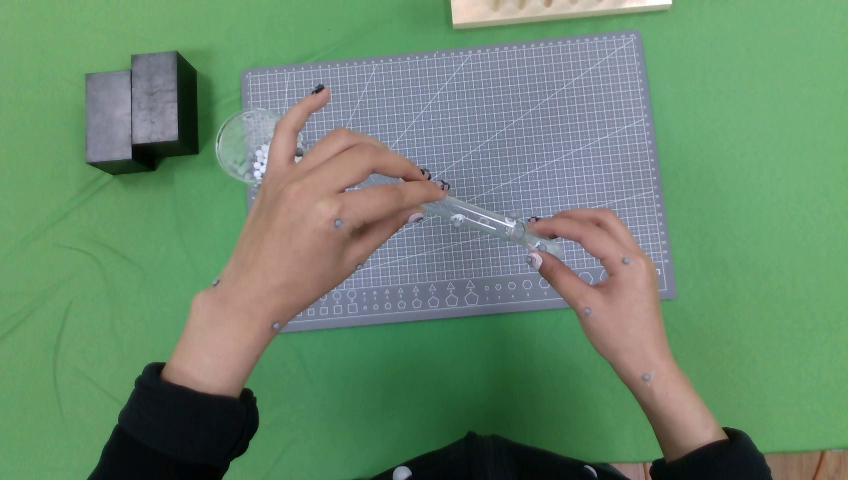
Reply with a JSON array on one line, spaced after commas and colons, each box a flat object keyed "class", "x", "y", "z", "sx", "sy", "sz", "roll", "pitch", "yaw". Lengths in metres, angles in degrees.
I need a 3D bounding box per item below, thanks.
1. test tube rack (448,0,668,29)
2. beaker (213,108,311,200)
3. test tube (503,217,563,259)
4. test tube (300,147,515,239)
[{"class": "test tube rack", "x": 0.145, "y": -0.289, "z": 0.648, "sx": 0.242, "sy": 0.085, "sz": 0.066, "roll": -5, "pitch": 82, "yaw": 2}, {"class": "beaker", "x": -0.158, "y": -0.084, "z": 0.625, "sx": 0.084, "sy": 0.100, "sz": 0.073, "roll": -13, "pitch": 82, "yaw": 0}, {"class": "test tube", "x": 0.091, "y": 0.001, "z": 0.483, "sx": 0.017, "sy": 0.151, "sz": 0.017, "roll": -3, "pitch": 82, "yaw": 23}, {"class": "test tube", "x": -0.011, "y": -0.032, "z": 0.408, "sx": 0.150, "sy": 0.017, "sz": 0.017, "roll": 19, "pitch": 83, "yaw": -3}]
